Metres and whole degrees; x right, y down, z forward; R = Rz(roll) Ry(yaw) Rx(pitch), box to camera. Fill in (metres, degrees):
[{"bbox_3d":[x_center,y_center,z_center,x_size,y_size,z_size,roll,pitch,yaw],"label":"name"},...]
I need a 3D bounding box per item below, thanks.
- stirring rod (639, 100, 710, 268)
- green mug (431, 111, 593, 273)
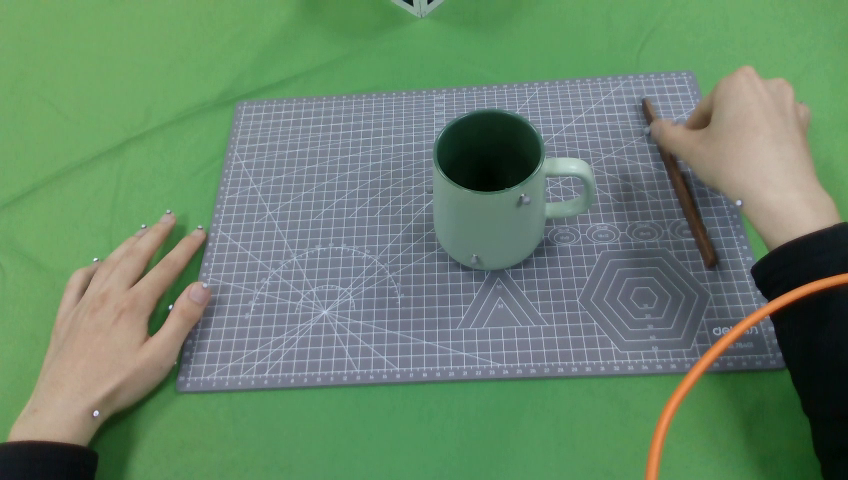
[{"bbox_3d":[0.210,-0.053,0.514,0.006,0.014,0.174,-3,57,-4],"label":"stirring rod"},{"bbox_3d":[0.066,-0.035,0.465,0.125,0.106,0.091,-1,58,5],"label":"green mug"}]
